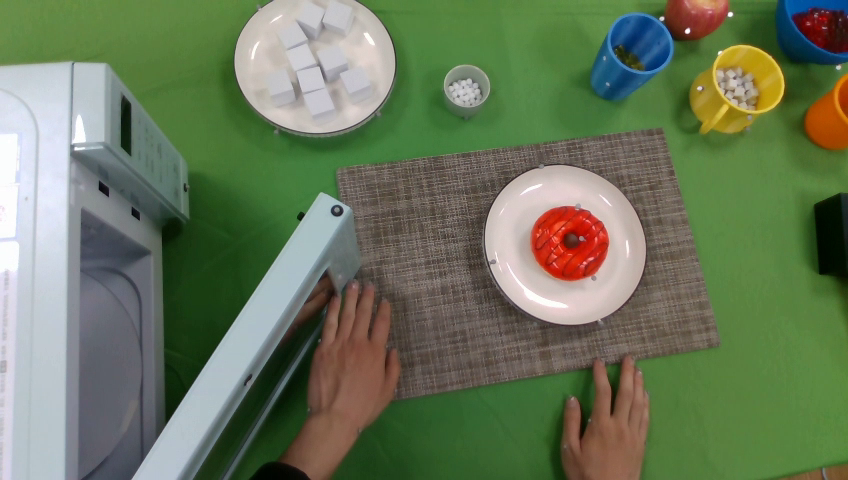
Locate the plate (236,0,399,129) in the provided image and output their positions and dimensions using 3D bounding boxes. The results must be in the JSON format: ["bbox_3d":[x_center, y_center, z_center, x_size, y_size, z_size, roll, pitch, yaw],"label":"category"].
[{"bbox_3d":[-0.137,-0.238,0.796,0.208,0.039,0.206,1,77,-4],"label":"plate"}]

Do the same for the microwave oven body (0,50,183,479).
[{"bbox_3d":[-0.421,0.085,0.581,0.326,0.261,0.439,-5,78,-6],"label":"microwave oven body"}]

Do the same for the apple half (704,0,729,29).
[{"bbox_3d":[0.402,-0.332,0.843,0.033,0.081,0.081,-3,77,-2],"label":"apple half"}]

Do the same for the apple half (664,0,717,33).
[{"bbox_3d":[0.363,-0.330,0.841,0.053,0.075,0.080,-3,80,-2],"label":"apple half"}]

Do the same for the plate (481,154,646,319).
[{"bbox_3d":[0.173,-0.003,0.765,0.209,0.038,0.208,1,77,-4],"label":"plate"}]

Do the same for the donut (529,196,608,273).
[{"bbox_3d":[0.179,-0.007,0.755,0.099,0.048,0.098,1,78,-3],"label":"donut"}]

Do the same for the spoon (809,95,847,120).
[{"bbox_3d":[0.605,-0.163,0.785,0.041,0.192,0.022,-51,129,-13],"label":"spoon"}]

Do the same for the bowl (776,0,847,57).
[{"bbox_3d":[0.556,-0.316,0.851,0.151,0.077,0.150,1,78,-4],"label":"bowl"}]

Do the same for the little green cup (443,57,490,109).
[{"bbox_3d":[0.054,-0.206,0.805,0.061,0.039,0.061,1,77,-4],"label":"little green cup"}]

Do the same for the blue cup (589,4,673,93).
[{"bbox_3d":[0.263,-0.243,0.798,0.093,0.100,0.092,1,79,-5],"label":"blue cup"}]

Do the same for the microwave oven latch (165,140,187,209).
[{"bbox_3d":[-0.301,-0.078,0.726,0.030,0.029,0.079,-1,78,-5],"label":"microwave oven latch"}]

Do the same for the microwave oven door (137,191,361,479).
[{"bbox_3d":[-0.171,0.135,0.586,0.039,0.244,0.355,29,76,4],"label":"microwave oven door"}]

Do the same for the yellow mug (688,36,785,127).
[{"bbox_3d":[0.412,-0.203,0.819,0.100,0.064,0.130,39,78,4],"label":"yellow mug"}]
